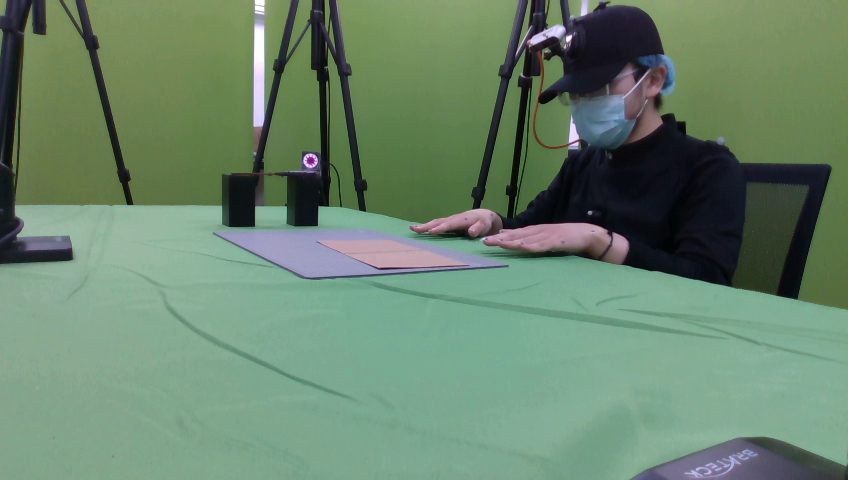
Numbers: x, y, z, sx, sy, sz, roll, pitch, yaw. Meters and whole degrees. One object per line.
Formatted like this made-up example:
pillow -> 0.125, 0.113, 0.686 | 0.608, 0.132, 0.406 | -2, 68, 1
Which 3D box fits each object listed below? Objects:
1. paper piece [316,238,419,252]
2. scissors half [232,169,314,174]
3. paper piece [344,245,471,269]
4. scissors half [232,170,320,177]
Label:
paper piece -> -0.088, 0.006, 0.964 | 0.136, 0.004, 0.135 | -3, 8, -27
scissors half -> -0.304, -0.138, 1.228 | 0.176, 0.013, 0.040 | -7, 18, -40
paper piece -> -0.027, 0.024, 0.847 | 0.137, 0.008, 0.137 | -5, 11, -26
scissors half -> -0.293, -0.133, 1.212 | 0.176, 0.013, 0.040 | -2, 10, -24
